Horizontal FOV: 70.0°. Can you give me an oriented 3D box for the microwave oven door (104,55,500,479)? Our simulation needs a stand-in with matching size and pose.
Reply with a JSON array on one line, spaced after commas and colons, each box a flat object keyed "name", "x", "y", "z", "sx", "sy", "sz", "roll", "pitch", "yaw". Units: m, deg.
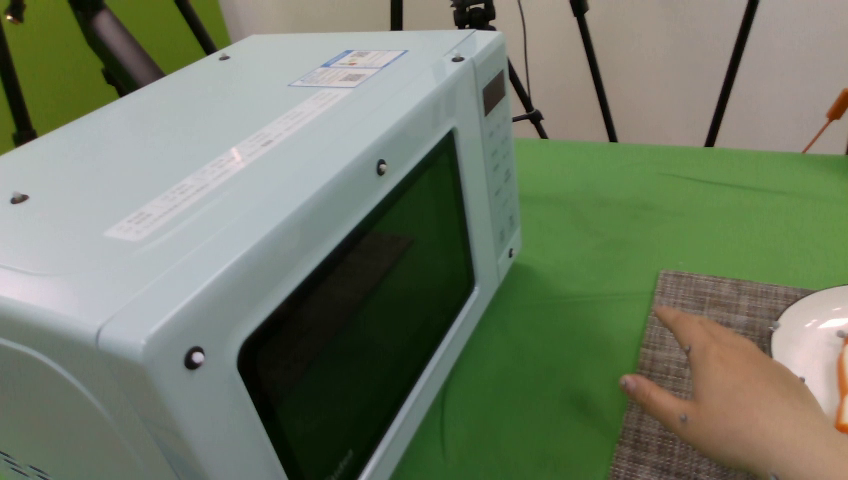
[{"name": "microwave oven door", "x": -0.032, "y": 0.043, "z": 0.437, "sx": 0.039, "sy": 0.246, "sz": 0.354, "roll": 8, "pitch": 37, "yaw": 26}]

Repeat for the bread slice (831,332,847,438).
[{"name": "bread slice", "x": 0.363, "y": 0.107, "z": 0.448, "sx": 0.104, "sy": 0.019, "sz": 0.131, "roll": 10, "pitch": 39, "yaw": 28}]

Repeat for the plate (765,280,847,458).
[{"name": "plate", "x": 0.366, "y": 0.105, "z": 0.445, "sx": 0.209, "sy": 0.038, "sz": 0.207, "roll": -8, "pitch": 33, "yaw": 5}]

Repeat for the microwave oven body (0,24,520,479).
[{"name": "microwave oven body", "x": -0.142, "y": 0.007, "z": 0.534, "sx": 0.324, "sy": 0.262, "sz": 0.440, "roll": 8, "pitch": 38, "yaw": 26}]

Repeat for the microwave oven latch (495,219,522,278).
[{"name": "microwave oven latch", "x": 0.081, "y": 0.008, "z": 0.649, "sx": 0.030, "sy": 0.030, "sz": 0.079, "roll": 9, "pitch": 38, "yaw": 27}]
